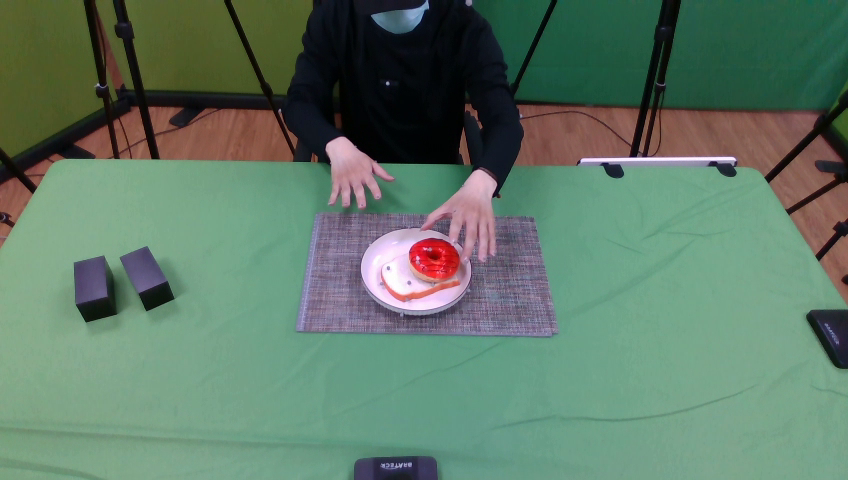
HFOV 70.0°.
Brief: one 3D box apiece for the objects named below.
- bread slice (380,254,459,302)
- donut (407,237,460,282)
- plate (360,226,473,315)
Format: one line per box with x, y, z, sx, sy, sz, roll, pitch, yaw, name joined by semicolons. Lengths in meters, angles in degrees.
-0.014;0.064;1.123;0.132;0.019;0.104;-17;49;-22;bread slice
0.017;0.037;1.109;0.099;0.048;0.098;4;44;-4;donut
-0.013;0.059;1.124;0.208;0.039;0.206;2;46;-2;plate
